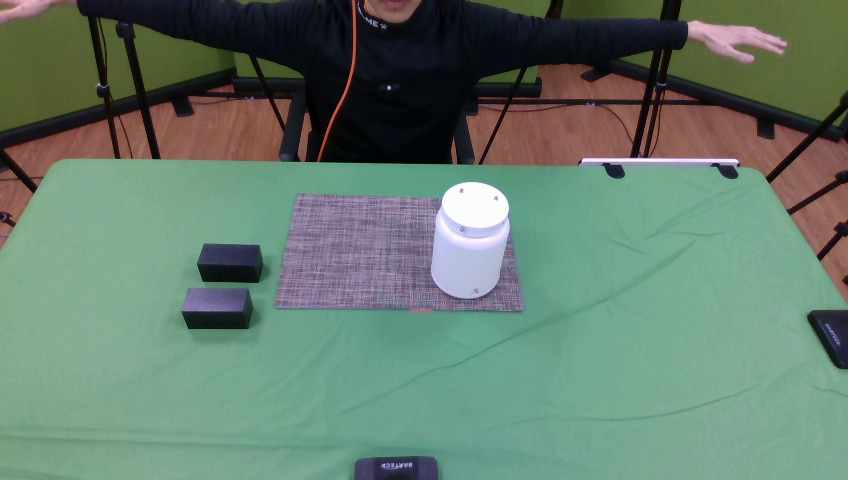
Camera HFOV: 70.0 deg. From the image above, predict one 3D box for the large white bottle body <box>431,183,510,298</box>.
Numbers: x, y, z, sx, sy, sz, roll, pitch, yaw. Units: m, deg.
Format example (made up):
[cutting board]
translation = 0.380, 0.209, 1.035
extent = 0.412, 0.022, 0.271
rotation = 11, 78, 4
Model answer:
[large white bottle body]
translation = 0.082, 0.000, 1.083
extent = 0.131, 0.185, 0.130
rotation = 2, 47, -2

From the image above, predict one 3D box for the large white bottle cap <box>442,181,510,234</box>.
[large white bottle cap]
translation = 0.087, -0.057, 1.022
extent = 0.115, 0.018, 0.114
rotation = 2, 47, -2
